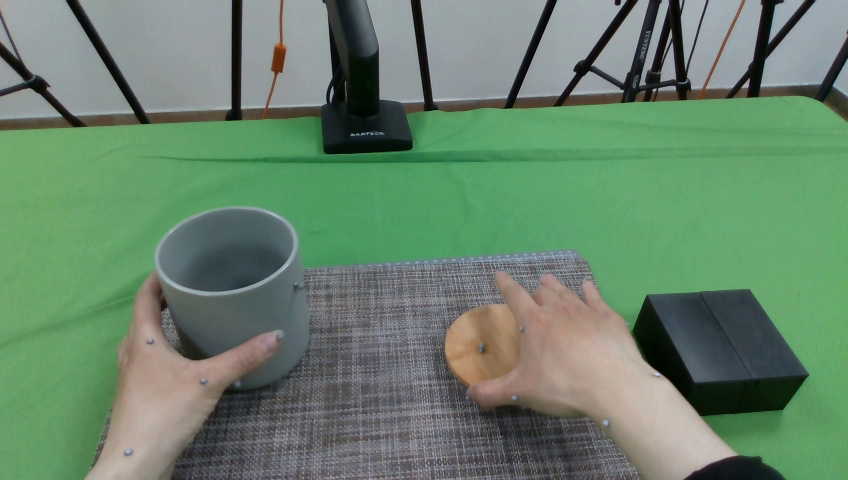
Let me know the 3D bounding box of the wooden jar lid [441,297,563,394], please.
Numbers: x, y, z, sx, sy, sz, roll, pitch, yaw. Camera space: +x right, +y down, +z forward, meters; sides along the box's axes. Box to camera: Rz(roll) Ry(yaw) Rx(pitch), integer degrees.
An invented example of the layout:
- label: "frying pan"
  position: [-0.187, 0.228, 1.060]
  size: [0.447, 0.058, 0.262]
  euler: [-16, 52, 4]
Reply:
- label: "wooden jar lid"
  position: [0.069, 0.095, 0.542]
  size: [0.108, 0.021, 0.107]
  euler: [3, 40, -2]

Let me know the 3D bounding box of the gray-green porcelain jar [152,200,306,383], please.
- label: "gray-green porcelain jar"
  position: [-0.154, 0.047, 0.503]
  size: [0.106, 0.127, 0.105]
  euler: [2, 41, -1]
